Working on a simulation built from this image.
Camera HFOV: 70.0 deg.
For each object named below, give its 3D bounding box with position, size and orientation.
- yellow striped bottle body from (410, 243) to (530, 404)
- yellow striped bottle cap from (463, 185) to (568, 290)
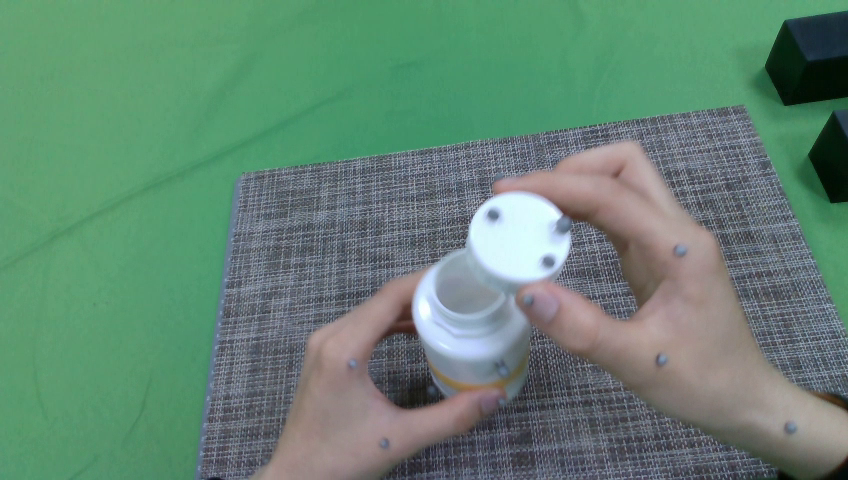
[{"bbox_3d":[0.027,0.047,0.341,0.063,0.121,0.062,-2,61,5],"label":"yellow striped bottle body"},{"bbox_3d":[0.039,-0.002,0.263,0.044,0.019,0.044,1,66,-2],"label":"yellow striped bottle cap"}]
